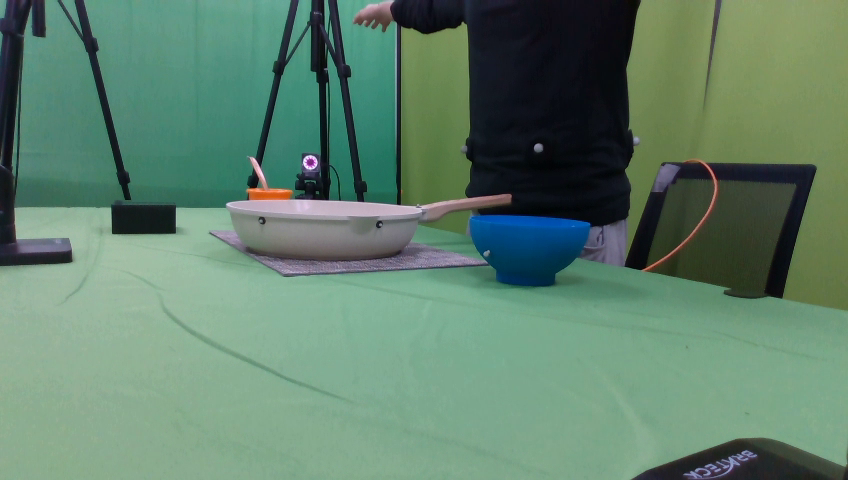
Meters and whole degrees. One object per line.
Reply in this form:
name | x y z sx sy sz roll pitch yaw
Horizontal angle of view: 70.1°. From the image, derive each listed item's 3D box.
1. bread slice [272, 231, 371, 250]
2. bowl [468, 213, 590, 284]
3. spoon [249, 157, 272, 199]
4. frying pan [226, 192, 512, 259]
bread slice | -0.148 0.001 0.929 0.133 0.018 0.107 5 7 38
bowl | 0.128 0.011 0.755 0.151 0.077 0.151 2 7 0
spoon | -0.334 -0.108 1.269 0.042 0.193 0.021 0 -37 -39
frying pan | -0.058 -0.041 0.974 0.490 0.102 0.305 -11 13 -26
